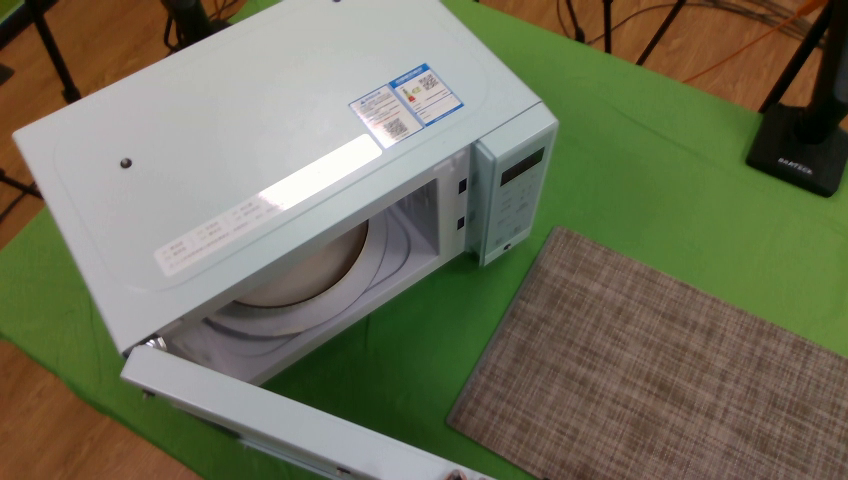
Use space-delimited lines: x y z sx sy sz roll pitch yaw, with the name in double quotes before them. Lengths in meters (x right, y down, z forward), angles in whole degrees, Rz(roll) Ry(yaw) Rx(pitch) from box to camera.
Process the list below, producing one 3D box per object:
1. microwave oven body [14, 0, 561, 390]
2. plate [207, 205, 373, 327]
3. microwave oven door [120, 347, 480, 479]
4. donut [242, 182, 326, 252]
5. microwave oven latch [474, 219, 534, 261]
"microwave oven body" -0.133 -0.066 0.689 0.442 0.262 0.323 -33 67 -13
"plate" -0.159 0.009 0.701 0.209 0.038 0.207 -3 59 5
"microwave oven door" -0.065 0.197 0.548 0.355 0.246 0.039 18 65 10
"donut" -0.166 -0.027 0.720 0.099 0.048 0.098 3 49 -4
"microwave oven latch" 0.101 -0.008 0.762 0.079 0.030 0.030 -33 67 -13
